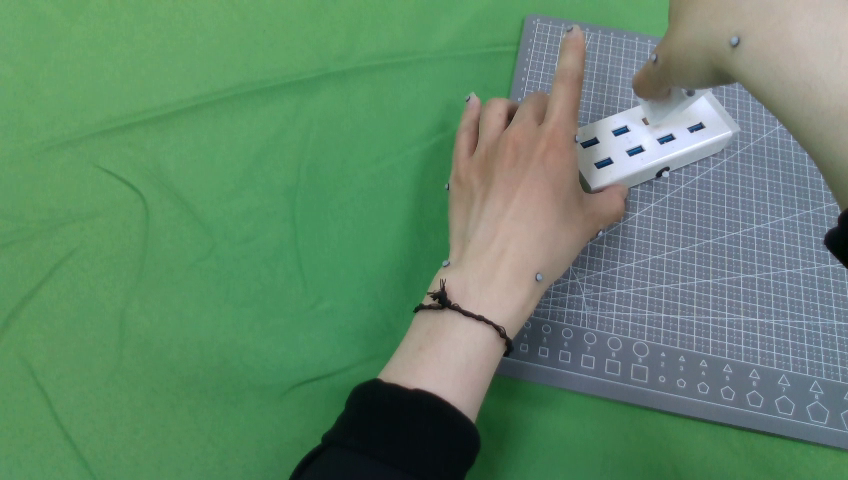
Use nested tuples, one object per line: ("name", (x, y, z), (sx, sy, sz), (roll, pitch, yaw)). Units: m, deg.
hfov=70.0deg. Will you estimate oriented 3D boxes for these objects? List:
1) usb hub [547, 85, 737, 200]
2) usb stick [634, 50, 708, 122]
("usb hub", (0.154, -0.073, 0.427), (0.125, 0.025, 0.049), (-21, 67, -13))
("usb stick", (0.158, -0.097, 0.399), (0.021, 0.059, 0.027), (-24, 79, -12))
